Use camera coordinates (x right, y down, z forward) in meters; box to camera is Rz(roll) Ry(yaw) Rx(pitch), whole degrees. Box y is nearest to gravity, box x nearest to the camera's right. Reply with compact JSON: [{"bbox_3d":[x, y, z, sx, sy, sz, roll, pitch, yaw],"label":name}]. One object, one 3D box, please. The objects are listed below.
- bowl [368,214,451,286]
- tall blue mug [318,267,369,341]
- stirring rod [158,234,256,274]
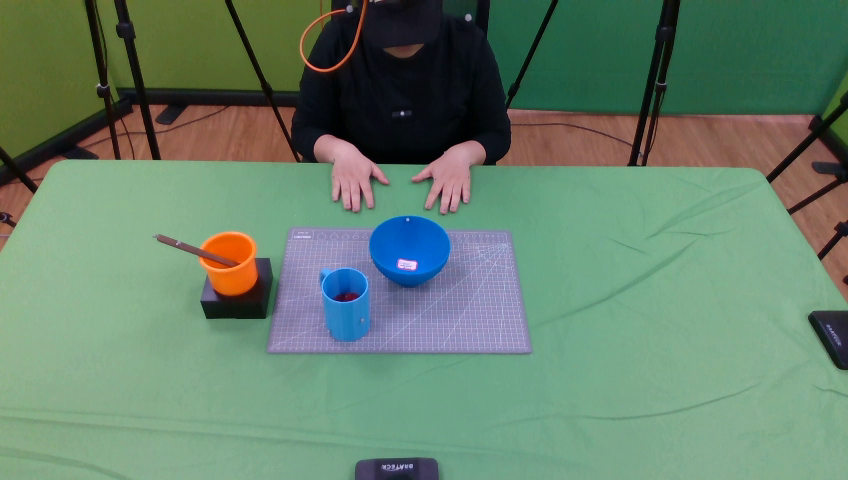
[{"bbox_3d":[-0.028,0.031,1.122,0.151,0.077,0.150,2,46,-2],"label":"bowl"},{"bbox_3d":[-0.146,0.104,1.023,0.107,0.108,0.077,19,49,14],"label":"tall blue mug"},{"bbox_3d":[-0.354,0.024,0.999,0.177,0.006,0.014,27,30,-40],"label":"stirring rod"}]
